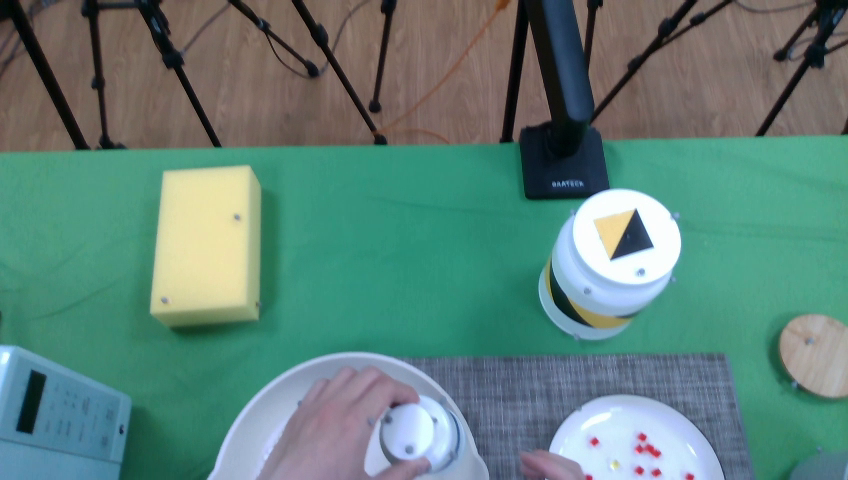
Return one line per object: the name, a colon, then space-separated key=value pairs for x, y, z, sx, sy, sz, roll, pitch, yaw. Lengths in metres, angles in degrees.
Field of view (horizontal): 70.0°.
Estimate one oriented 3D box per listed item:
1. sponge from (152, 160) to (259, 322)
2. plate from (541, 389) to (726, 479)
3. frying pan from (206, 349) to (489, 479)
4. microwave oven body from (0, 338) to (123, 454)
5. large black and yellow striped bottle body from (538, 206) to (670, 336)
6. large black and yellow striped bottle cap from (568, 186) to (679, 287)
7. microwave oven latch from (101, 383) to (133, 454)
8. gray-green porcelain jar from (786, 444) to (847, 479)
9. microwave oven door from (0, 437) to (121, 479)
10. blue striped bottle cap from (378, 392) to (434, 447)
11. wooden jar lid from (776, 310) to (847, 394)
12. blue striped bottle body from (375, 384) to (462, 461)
sponge: x=-0.286 y=-0.001 z=0.811 sx=0.118 sy=0.061 sz=0.205 roll=-6 pitch=67 yaw=-3
plate: x=0.237 y=0.278 z=0.696 sx=0.209 sy=0.038 sz=0.207 roll=0 pitch=66 yaw=1
frying pan: x=-0.080 y=0.359 z=0.625 sx=0.307 sy=0.103 sz=0.483 roll=-2 pitch=58 yaw=2
microwave oven body: x=-0.512 y=0.331 z=0.550 sx=0.326 sy=0.262 sz=0.438 roll=0 pitch=66 yaw=0
large black and yellow striped bottle body: x=0.215 y=0.030 z=0.731 sx=0.131 sy=0.185 sz=0.129 roll=0 pitch=65 yaw=1
large black and yellow striped bottle cap: x=0.215 y=-0.005 z=0.653 sx=0.115 sy=0.019 sz=0.114 roll=0 pitch=65 yaw=1
microwave oven latch: x=-0.364 y=0.209 z=0.710 sx=0.030 sy=0.030 sz=0.078 roll=1 pitch=67 yaw=0
gray-green porcelain jar: x=0.467 y=0.276 z=0.653 sx=0.106 sy=0.127 sz=0.105 roll=0 pitch=66 yaw=0
microwave oven door: x=-0.367 y=0.366 z=0.529 sx=0.039 sy=0.245 sz=0.353 roll=-1 pitch=66 yaw=0
blue striped bottle cap: x=-0.015 y=0.147 z=0.497 sx=0.044 sy=0.021 sz=0.044 roll=-3 pitch=72 yaw=10
wooden jar lid: x=0.501 y=0.143 z=0.770 sx=0.108 sy=0.021 sz=0.107 roll=0 pitch=67 yaw=0
blue striped bottle body: x=-0.005 y=0.165 z=0.544 sx=0.063 sy=0.122 sz=0.062 roll=-4 pitch=69 yaw=11
